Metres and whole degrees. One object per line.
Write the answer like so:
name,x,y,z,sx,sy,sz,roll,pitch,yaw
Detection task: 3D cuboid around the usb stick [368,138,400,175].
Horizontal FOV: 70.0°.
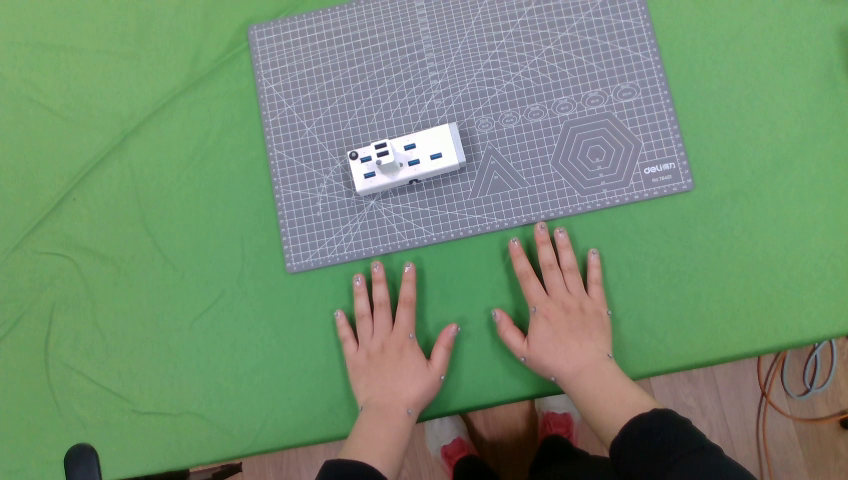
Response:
usb stick,-0.041,-0.085,0.637,0.021,0.059,0.027,-19,78,5

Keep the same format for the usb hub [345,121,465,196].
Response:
usb hub,-0.021,-0.090,0.665,0.125,0.025,0.049,-16,81,4
